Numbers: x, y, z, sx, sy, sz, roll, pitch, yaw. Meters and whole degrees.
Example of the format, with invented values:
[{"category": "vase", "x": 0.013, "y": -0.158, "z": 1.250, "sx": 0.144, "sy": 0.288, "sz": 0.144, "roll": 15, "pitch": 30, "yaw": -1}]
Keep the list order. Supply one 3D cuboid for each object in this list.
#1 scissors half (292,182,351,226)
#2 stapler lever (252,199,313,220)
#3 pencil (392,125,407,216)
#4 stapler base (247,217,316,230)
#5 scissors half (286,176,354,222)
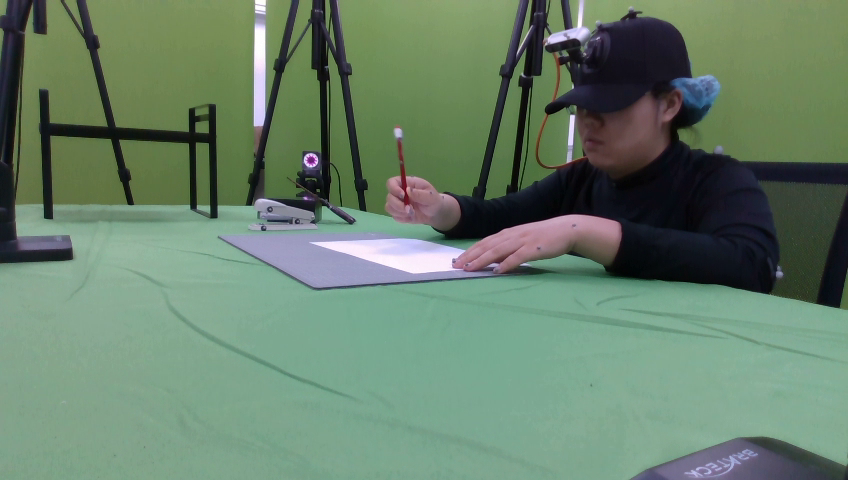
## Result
[{"category": "scissors half", "x": -0.232, "y": -0.085, "z": 1.317, "sx": 0.175, "sy": 0.013, "sz": 0.040, "roll": 38, "pitch": 20, "yaw": 4}, {"category": "stapler lever", "x": -0.273, "y": -0.058, "z": 1.170, "sx": 0.119, "sy": 0.040, "sz": 0.026, "roll": 0, "pitch": 10, "yaw": -37}, {"category": "pencil", "x": -0.039, "y": -0.116, "z": 0.984, "sx": 0.012, "sy": 0.193, "sz": 0.012, "roll": -6, "pitch": -34, "yaw": -4}, {"category": "stapler base", "x": -0.276, "y": -0.033, "z": 1.172, "sx": 0.131, "sy": 0.024, "sz": 0.041, "roll": 0, "pitch": 10, "yaw": -37}, {"category": "scissors half", "x": -0.229, "y": -0.091, "z": 1.337, "sx": 0.175, "sy": 0.013, "sz": 0.040, "roll": 33, "pitch": 15, "yaw": -13}]
